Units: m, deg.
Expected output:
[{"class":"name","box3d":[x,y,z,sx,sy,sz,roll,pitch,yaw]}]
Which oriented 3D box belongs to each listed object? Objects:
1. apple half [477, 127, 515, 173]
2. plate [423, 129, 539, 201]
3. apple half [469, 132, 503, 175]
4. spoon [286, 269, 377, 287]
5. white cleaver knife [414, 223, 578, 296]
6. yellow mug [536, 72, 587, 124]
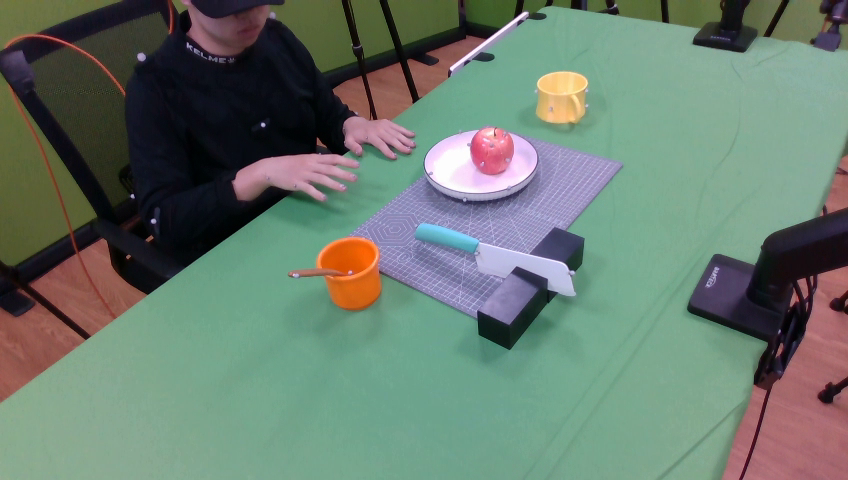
[{"class":"apple half","box3d":[0.132,-0.164,1.085,0.053,0.075,0.080,-28,41,-28]},{"class":"plate","box3d":[0.103,-0.132,1.092,0.209,0.038,0.208,-4,40,4]},{"class":"apple half","box3d":[0.102,-0.146,1.067,0.033,0.081,0.080,-28,44,-29]},{"class":"spoon","box3d":[-0.125,0.049,0.831,0.041,0.195,0.021,22,92,28]},{"class":"white cleaver knife","box3d":[0.093,0.028,0.880,0.284,0.066,0.021,17,44,40]},{"class":"yellow mug","box3d":[0.284,-0.281,1.222,0.100,0.064,0.130,-16,42,-10]}]
